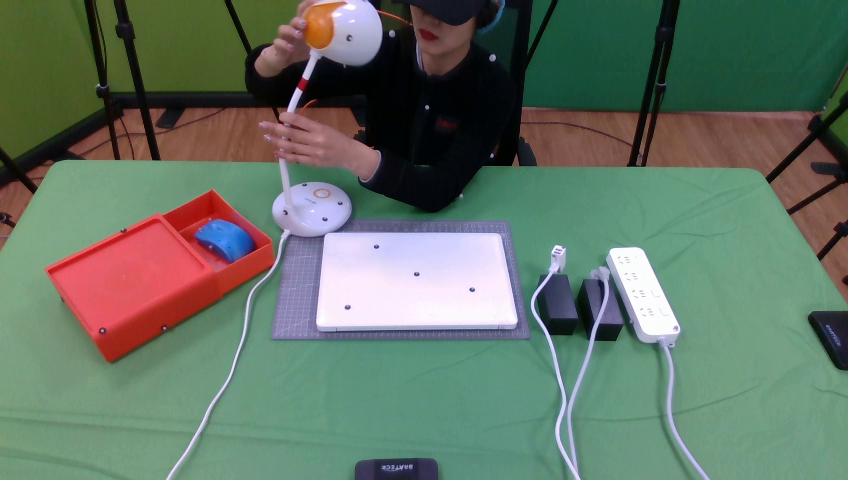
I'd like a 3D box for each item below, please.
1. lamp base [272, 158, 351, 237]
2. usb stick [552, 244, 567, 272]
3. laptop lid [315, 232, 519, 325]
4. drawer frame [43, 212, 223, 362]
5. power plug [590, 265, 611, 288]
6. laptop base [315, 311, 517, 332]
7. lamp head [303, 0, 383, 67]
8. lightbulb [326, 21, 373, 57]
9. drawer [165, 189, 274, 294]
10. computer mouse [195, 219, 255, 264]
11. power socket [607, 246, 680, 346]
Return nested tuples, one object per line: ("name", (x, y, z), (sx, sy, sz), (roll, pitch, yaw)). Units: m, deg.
("lamp base", (-0.232, -0.111, 1.177), (0.160, 0.181, 0.178), (18, 49, 15))
("usb stick", (0.251, 0.039, 1.124), (0.021, 0.059, 0.027), (14, 47, 24))
("laptop lid", (-0.015, 0.065, 1.118), (0.357, 0.013, 0.240), (1, 43, -3))
("drawer frame", (-0.497, 0.073, 1.049), (0.213, 0.083, 0.200), (-35, 57, -31))
("power plug", (0.318, 0.073, 1.108), (0.035, 0.053, 0.072), (26, 34, 13))
("laptop base", (-0.016, 0.075, 1.125), (0.355, 0.023, 0.234), (0, 42, -4))
("lamp head", (-0.147, -0.345, 1.010), (0.112, 0.113, 0.123), (27, 27, 21))
("lightbulb", (-0.129, -0.341, 1.031), (0.059, 0.060, 0.107), (26, 29, 20))
("drawer", (-0.418, 0.021, 1.109), (0.193, 0.073, 0.211), (37, 55, 27))
("computer mouse", (-0.380, -0.003, 1.155), (0.116, 0.041, 0.063), (29, 51, 26))
("power socket", (0.403, 0.096, 1.123), (0.072, 0.033, 0.225), (-3, 46, -5))
